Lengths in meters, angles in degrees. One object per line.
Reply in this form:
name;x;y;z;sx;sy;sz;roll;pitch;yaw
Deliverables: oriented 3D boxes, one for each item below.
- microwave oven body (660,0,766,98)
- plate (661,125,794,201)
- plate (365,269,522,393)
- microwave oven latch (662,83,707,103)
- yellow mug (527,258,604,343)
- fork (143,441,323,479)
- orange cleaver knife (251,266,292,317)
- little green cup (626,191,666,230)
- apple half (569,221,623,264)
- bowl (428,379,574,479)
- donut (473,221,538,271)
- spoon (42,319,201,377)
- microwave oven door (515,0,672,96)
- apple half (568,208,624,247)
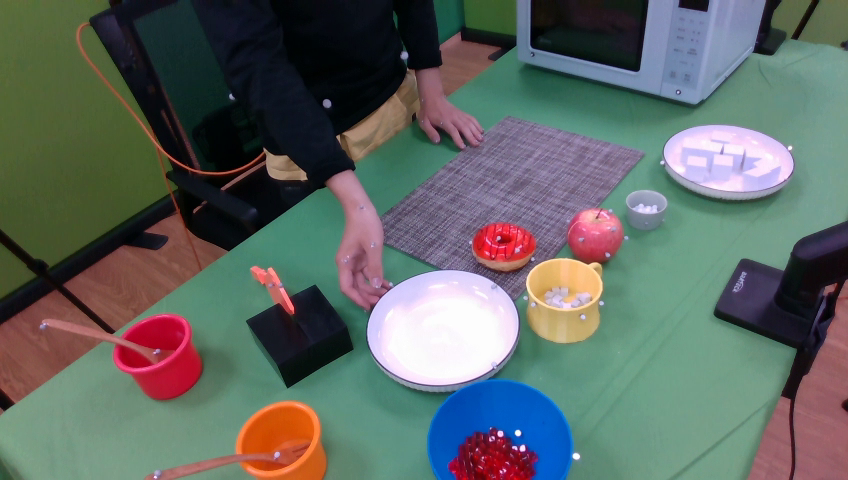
microwave oven body;0.472;-0.513;1.317;0.438;0.261;0.327;26;51;34
plate;0.513;-0.128;1.035;0.207;0.039;0.206;-4;40;4
plate;0.027;0.123;0.813;0.209;0.038;0.208;-4;40;4
microwave oven latch;0.517;-0.296;1.204;0.078;0.029;0.030;27;52;35
yellow mug;0.201;0.073;0.825;0.131;0.064;0.099;-32;46;-27
fork;-0.189;0.231;0.631;0.028;0.018;0.209;35;13;37
orange cleaver knife;-0.221;0.071;0.873;0.012;0.077;0.210;-25;11;-21
little green cup;0.352;-0.046;0.963;0.061;0.039;0.061;-4;40;4
apple half;0.251;0.010;0.884;0.081;0.081;0.032;3;37;12
bowl;0.082;0.233;0.644;0.151;0.077;0.150;-4;40;4
donut;0.124;0.008;0.923;0.099;0.048;0.098;-4;38;3
spoon;-0.385;0.135;0.779;0.195;0.021;0.041;28;37;-26
microwave oven door;0.343;-0.454;1.259;0.353;0.245;0.039;26;51;33
apple half;0.259;-0.014;0.914;0.080;0.075;0.053;0;36;15
